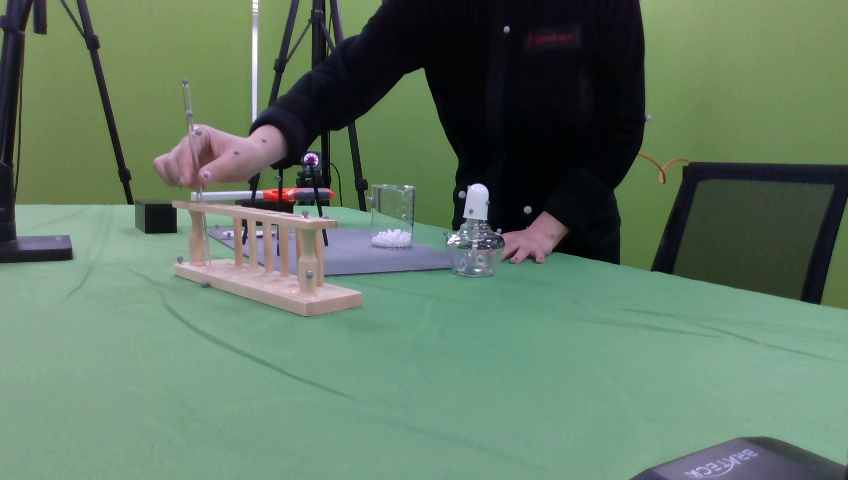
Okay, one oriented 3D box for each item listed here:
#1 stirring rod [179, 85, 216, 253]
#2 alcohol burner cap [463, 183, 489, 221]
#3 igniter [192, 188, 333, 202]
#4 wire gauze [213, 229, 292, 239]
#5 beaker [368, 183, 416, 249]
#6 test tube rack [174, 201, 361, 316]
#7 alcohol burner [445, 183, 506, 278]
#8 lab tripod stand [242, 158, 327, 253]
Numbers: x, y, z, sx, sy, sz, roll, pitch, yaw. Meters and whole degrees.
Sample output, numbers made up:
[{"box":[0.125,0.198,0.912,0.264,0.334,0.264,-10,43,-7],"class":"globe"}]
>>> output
[{"box":[-0.237,-0.073,0.634,0.006,0.176,0.014,0,9,42],"class":"stirring rod"},{"box":[0.067,-0.048,0.765,0.034,0.048,0.034,5,5,0],"class":"alcohol burner cap"},{"box":[-0.316,-0.090,1.212,0.278,0.025,0.057,-5,12,-32],"class":"igniter"},{"box":[-0.298,-0.013,1.039,0.122,0.011,0.124,-2,6,-27],"class":"wire gauze"},{"box":[-0.051,-0.039,0.971,0.074,0.100,0.083,-1,9,-25],"class":"beaker"},{"box":[-0.169,0.010,0.621,0.241,0.085,0.067,9,9,41],"class":"test tube rack"},{"box":[0.065,-0.013,0.770,0.078,0.119,0.078,0,7,0],"class":"alcohol burner"},{"box":[-0.207,-0.054,0.894,0.148,0.131,0.148,3,5,0],"class":"lab tripod stand"}]
